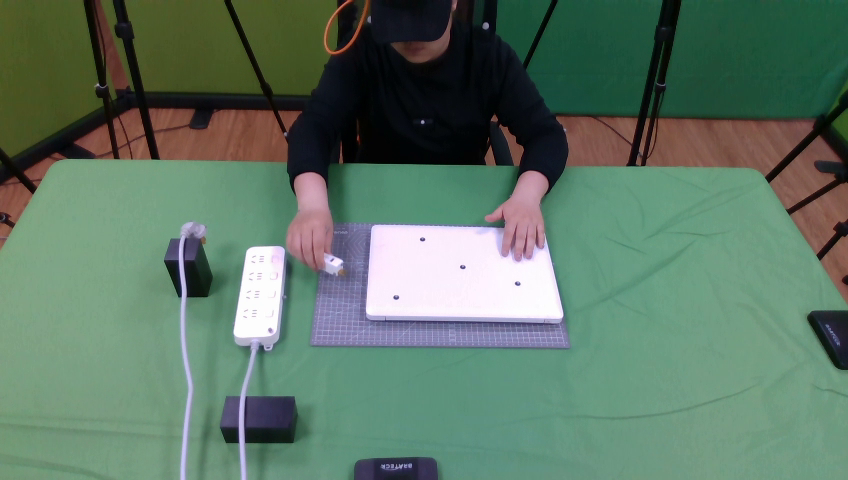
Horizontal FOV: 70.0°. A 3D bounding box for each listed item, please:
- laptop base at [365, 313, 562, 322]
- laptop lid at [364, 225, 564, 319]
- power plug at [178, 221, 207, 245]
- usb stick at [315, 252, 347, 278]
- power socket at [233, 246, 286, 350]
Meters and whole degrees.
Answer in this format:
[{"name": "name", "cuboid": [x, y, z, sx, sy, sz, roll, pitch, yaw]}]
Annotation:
[{"name": "laptop base", "cuboid": [0.070, 0.063, 1.145, 0.354, 0.023, 0.234, 1, 43, -3]}, {"name": "laptop lid", "cuboid": [0.070, 0.053, 1.138, 0.357, 0.013, 0.240, 3, 44, -2]}, {"name": "power plug", "cuboid": [-0.413, -0.003, 1.070, 0.035, 0.053, 0.072, -1, 41, 24]}, {"name": "usb stick", "cuboid": [-0.165, 0.047, 1.089, 0.059, 0.027, 0.021, 27, 41, 13]}, {"name": "power socket", "cuboid": [-0.290, 0.094, 1.078, 0.072, 0.033, 0.225, -2, 46, -5]}]
